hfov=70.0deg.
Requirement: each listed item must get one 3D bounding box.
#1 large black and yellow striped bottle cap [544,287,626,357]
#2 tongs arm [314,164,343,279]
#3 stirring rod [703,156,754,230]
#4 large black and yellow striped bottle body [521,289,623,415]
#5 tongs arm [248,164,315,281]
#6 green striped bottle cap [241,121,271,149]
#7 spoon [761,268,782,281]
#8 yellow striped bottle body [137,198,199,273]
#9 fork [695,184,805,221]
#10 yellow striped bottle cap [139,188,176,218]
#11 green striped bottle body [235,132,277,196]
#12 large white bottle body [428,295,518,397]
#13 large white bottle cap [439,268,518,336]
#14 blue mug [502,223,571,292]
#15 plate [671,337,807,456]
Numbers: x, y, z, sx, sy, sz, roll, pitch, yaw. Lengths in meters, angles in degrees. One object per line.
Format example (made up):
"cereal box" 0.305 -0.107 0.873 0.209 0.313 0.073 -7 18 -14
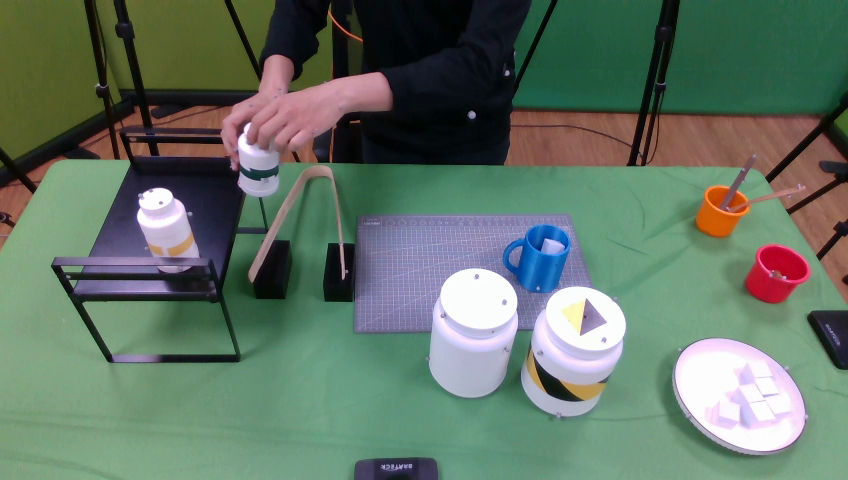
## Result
"large black and yellow striped bottle cap" 0.232 0.116 0.876 0.115 0.019 0.114 1 45 -1
"tongs arm" -0.188 -0.049 1.170 0.051 0.026 0.382 -5 35 -6
"stirring rod" 0.631 -0.097 1.258 0.014 0.006 0.176 33 95 29
"large black and yellow striped bottle body" 0.228 0.173 0.937 0.131 0.185 0.130 2 47 -2
"tongs arm" -0.270 -0.048 1.165 0.028 0.028 0.385 0 34 7
"green striped bottle cap" -0.258 -0.162 0.930 0.044 0.020 0.044 11 48 -12
"spoon" 0.638 0.060 1.105 0.041 0.021 0.194 38 11 24
"yellow striped bottle body" -0.366 -0.014 0.864 0.063 0.121 0.062 2 46 -2
"fork" 0.657 -0.075 1.230 0.207 0.019 0.028 -23 35 37
"yellow striped bottle cap" -0.363 -0.051 0.826 0.044 0.019 0.044 1 47 -1
"green striped bottle body" -0.268 -0.131 0.970 0.063 0.120 0.063 7 51 -8
"large white bottle body" 0.075 0.147 0.950 0.131 0.185 0.130 2 47 -2
"large white bottle cap" 0.080 0.089 0.888 0.115 0.018 0.114 2 47 -2
"blue mug" 0.203 0.031 1.121 0.116 0.106 0.082 5 47 1
"plate" 0.503 0.254 0.984 0.208 0.039 0.206 2 46 -2
